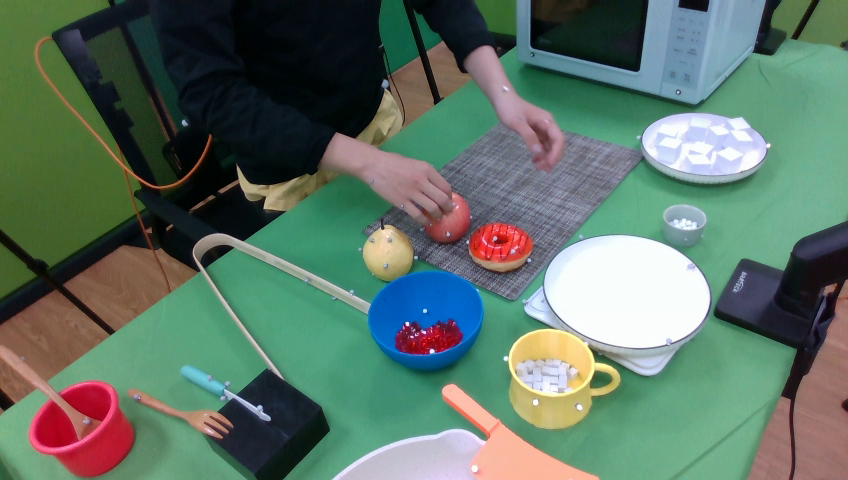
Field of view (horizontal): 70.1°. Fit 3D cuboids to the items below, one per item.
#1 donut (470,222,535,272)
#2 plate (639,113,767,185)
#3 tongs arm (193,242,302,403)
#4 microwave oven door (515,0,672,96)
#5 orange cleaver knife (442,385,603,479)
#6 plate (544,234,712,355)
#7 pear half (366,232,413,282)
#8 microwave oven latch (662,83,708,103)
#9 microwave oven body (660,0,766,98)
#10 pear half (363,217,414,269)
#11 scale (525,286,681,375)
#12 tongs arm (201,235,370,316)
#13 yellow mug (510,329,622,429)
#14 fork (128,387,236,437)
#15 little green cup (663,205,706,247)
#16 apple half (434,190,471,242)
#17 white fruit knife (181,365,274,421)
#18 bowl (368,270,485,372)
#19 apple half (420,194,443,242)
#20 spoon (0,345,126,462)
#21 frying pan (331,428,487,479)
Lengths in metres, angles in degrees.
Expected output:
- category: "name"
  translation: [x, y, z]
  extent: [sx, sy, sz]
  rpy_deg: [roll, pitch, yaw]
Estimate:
- category: "donut"
  translation: [0.119, 0.009, 0.923]
  extent: [0.099, 0.048, 0.098]
  rpy_deg: [-4, 38, 3]
- category: "plate"
  translation: [0.489, -0.157, 1.074]
  extent: [0.207, 0.039, 0.206]
  rpy_deg: [-4, 40, 4]
- category: "tongs arm"
  translation: [-0.268, 0.108, 0.883]
  extent: [0.028, 0.028, 0.384]
  rpy_deg: [-35, 46, -18]
- category: "microwave oven door"
  translation: [0.343, -0.455, 1.259]
  extent: [0.353, 0.245, 0.039]
  rpy_deg: [26, 51, 33]
- category: "orange cleaver knife"
  translation: [0.086, 0.219, 0.612]
  extent: [0.209, 0.012, 0.077]
  rpy_deg: [28, 49, 35]
- category: "plate"
  translation: [0.262, 0.072, 0.792]
  extent: [0.209, 0.038, 0.208]
  rpy_deg: [-4, 41, 4]
- category: "pear half"
  translation: [-0.048, 0.031, 0.893]
  extent: [0.071, 0.088, 0.031]
  rpy_deg: [-16, 40, -13]
- category: "microwave oven latch"
  translation: [0.517, -0.296, 1.204]
  extent: [0.078, 0.029, 0.030]
  rpy_deg: [27, 52, 35]
- category: "microwave oven body"
  translation: [0.472, -0.513, 1.317]
  extent: [0.438, 0.261, 0.327]
  rpy_deg: [26, 51, 34]
- category: "pear half"
  translation: [-0.058, 0.002, 0.913]
  extent: [0.076, 0.110, 0.055]
  rpy_deg: [-15, 40, -13]
- category: "scale"
  translation: [0.254, 0.091, 0.821]
  extent: [0.199, 0.032, 0.149]
  rpy_deg: [27, 51, 35]
- category: "tongs arm"
  translation: [-0.209, 0.061, 0.924]
  extent: [0.381, 0.026, 0.051]
  rpy_deg: [23, 53, 33]
- category: "yellow mug"
  translation: [0.168, 0.164, 0.721]
  extent: [0.130, 0.064, 0.099]
  rpy_deg: [0, 40, 8]
- category: "fork"
  translation: [-0.305, 0.207, 0.744]
  extent: [0.206, 0.019, 0.028]
  rpy_deg: [3, 41, 36]
- category: "little green cup"
  translation: [0.396, -0.020, 0.926]
  extent: [0.061, 0.039, 0.061]
  rpy_deg: [-4, 40, 4]
- category: "apple half"
  translation: [0.047, -0.038, 0.966]
  extent: [0.053, 0.075, 0.080]
  rpy_deg: [-8, 38, -6]
- category: "white fruit knife"
  translation: [-0.245, 0.187, 0.747]
  extent: [0.205, 0.027, 0.016]
  rpy_deg: [9, 41, 41]
- category: "bowl"
  translation: [0.007, 0.118, 0.791]
  extent: [0.151, 0.077, 0.150]
  rpy_deg: [-5, 40, 4]
- category: "apple half"
  translation: [0.011, -0.030, 0.967]
  extent: [0.033, 0.081, 0.080]
  rpy_deg: [-11, 40, -11]
- category: "spoon"
  translation: [-0.434, 0.192, 0.720]
  extent: [0.194, 0.021, 0.042]
  rpy_deg: [47, 53, -7]
- category: "frying pan"
  translation: [-0.089, 0.306, 0.564]
  extent: [0.487, 0.103, 0.306]
  rpy_deg: [10, 41, 7]
